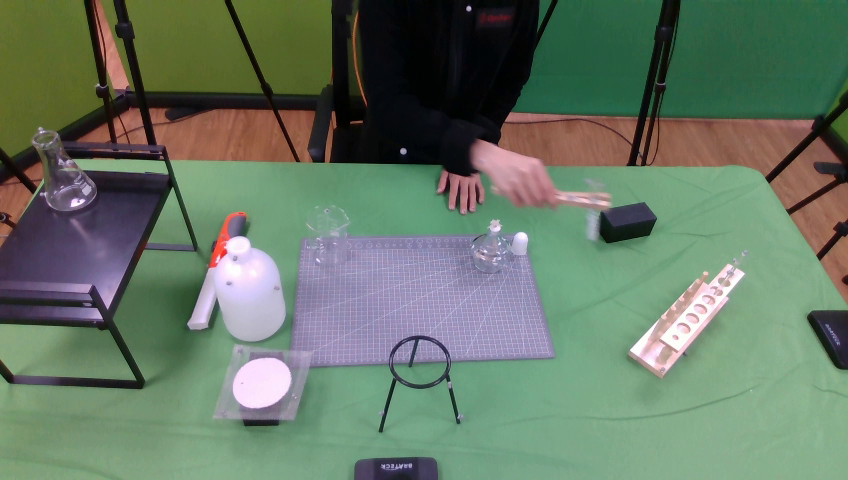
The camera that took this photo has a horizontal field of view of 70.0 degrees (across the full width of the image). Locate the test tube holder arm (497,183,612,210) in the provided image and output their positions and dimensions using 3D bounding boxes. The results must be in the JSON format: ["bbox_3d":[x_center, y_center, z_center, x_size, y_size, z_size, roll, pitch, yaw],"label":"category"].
[{"bbox_3d":[0.198,-0.069,0.934,0.178,0.015,0.013,10,62,18],"label":"test tube holder arm"}]

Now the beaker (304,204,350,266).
[{"bbox_3d":[-0.178,-0.006,1.132,0.084,0.101,0.073,4,46,-1],"label":"beaker"}]

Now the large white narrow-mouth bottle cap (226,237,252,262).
[{"bbox_3d":[-0.282,0.015,0.923,0.038,0.024,0.037,2,46,-2],"label":"large white narrow-mouth bottle cap"}]

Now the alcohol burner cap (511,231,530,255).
[{"bbox_3d":[0.191,0.003,1.188,0.034,0.048,0.033,3,45,-3],"label":"alcohol burner cap"}]

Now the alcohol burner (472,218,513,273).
[{"bbox_3d":[0.128,0.005,1.132,0.078,0.120,0.077,0,47,0],"label":"alcohol burner"}]

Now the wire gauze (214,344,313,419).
[{"bbox_3d":[-0.241,0.213,0.915,0.121,0.011,0.124,5,46,1],"label":"wire gauze"}]

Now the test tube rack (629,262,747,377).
[{"bbox_3d":[0.464,0.126,1.061,0.242,0.085,0.066,-34,56,-30],"label":"test tube rack"}]

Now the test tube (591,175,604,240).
[{"bbox_3d":[0.267,-0.046,0.936,0.017,0.151,0.017,-6,54,9],"label":"test tube"}]

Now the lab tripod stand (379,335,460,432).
[{"bbox_3d":[-0.011,0.214,0.912,0.148,0.132,0.147,1,45,0],"label":"lab tripod stand"}]

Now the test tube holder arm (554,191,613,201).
[{"bbox_3d":[0.242,-0.068,0.924,0.088,0.015,0.010,2,60,14],"label":"test tube holder arm"}]

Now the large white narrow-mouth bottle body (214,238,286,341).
[{"bbox_3d":[-0.285,0.073,0.986,0.102,0.195,0.101,2,46,-2],"label":"large white narrow-mouth bottle body"}]

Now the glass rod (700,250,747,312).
[{"bbox_3d":[0.500,0.075,1.021,0.008,0.201,0.008,0,54,1],"label":"glass rod"}]

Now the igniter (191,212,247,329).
[{"bbox_3d":[-0.376,0.047,1.121,0.057,0.025,0.275,-4,46,6],"label":"igniter"}]

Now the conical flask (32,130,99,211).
[{"bbox_3d":[-0.565,-0.111,0.944,0.075,0.122,0.075,2,46,-2],"label":"conical flask"}]
